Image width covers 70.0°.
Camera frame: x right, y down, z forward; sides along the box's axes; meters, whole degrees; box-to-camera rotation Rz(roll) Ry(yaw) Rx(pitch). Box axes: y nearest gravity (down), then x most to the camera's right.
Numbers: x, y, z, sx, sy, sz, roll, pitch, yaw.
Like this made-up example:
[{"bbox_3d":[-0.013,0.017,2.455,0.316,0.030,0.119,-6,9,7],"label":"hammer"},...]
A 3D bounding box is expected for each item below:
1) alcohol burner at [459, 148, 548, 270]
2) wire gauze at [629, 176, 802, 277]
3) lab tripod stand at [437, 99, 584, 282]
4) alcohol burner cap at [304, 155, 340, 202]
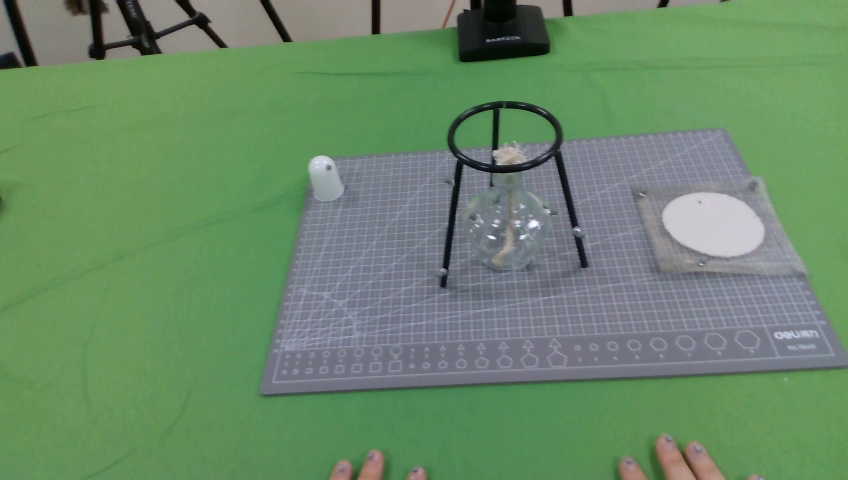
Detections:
[{"bbox_3d":[0.068,-0.031,0.519,0.078,0.120,0.077,-2,46,3],"label":"alcohol burner"},{"bbox_3d":[0.260,-0.015,0.552,0.125,0.011,0.120,0,47,5],"label":"wire gauze"},{"bbox_3d":[0.068,-0.040,0.514,0.148,0.133,0.147,-3,45,3],"label":"lab tripod stand"},{"bbox_3d":[-0.107,-0.067,0.627,0.034,0.048,0.033,-3,47,4],"label":"alcohol burner cap"}]
